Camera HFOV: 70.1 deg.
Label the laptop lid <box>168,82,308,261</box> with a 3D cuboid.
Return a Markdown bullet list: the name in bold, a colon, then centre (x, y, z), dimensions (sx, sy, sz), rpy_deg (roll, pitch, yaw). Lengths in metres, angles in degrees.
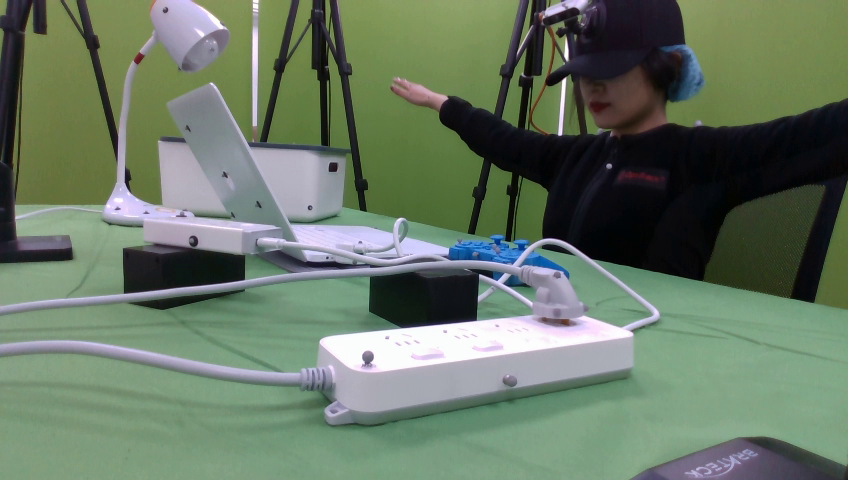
- **laptop lid**: centre (-0.273, -0.094, 0.844), dimensions (0.013, 0.242, 0.355), rpy_deg (-33, 24, -22)

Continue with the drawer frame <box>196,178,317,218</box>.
- **drawer frame**: centre (-0.376, -0.101, 1.393), dimensions (0.213, 0.082, 0.202), rpy_deg (1, 8, 6)

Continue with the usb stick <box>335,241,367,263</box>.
- **usb stick**: centre (-0.093, 0.015, 0.742), dimensions (0.021, 0.027, 0.059), rpy_deg (-4, 1, -33)

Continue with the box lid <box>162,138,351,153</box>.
- **box lid**: centre (-0.371, -0.215, 1.394), dimensions (0.371, 0.015, 0.263), rpy_deg (4, 8, 7)

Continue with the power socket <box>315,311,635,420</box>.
- **power socket**: centre (0.039, 0.072, 0.385), dimensions (0.228, 0.032, 0.072), rpy_deg (-2, 7, -29)

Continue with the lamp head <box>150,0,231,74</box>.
- **lamp head**: centre (-0.432, -0.374, 1.086), dimensions (0.123, 0.112, 0.112), rpy_deg (42, 8, -2)

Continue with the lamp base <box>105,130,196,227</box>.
- **lamp base**: centre (-0.532, -0.120, 1.153), dimensions (0.179, 0.180, 0.161), rpy_deg (1, 7, 8)

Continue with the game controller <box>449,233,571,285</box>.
- **game controller**: centre (0.101, 0.021, 0.760), dimensions (0.097, 0.051, 0.154), rpy_deg (-7, 10, -30)

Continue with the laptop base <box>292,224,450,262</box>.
- **laptop base**: centre (-0.127, 0.002, 0.946), dimensions (0.237, 0.023, 0.352), rpy_deg (2, 6, -31)

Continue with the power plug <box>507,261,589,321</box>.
- **power plug**: centre (0.091, 0.043, 0.444), dimensions (0.035, 0.052, 0.072), rpy_deg (-1, 5, -18)

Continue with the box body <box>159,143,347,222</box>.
- **box body**: centre (-0.384, -0.137, 1.406), dimensions (0.364, 0.160, 0.254), rpy_deg (3, 8, 7)

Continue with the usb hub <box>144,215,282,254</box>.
- **usb hub**: centre (-0.200, -0.006, 0.573), dimensions (0.125, 0.025, 0.050), rpy_deg (6, 7, 23)

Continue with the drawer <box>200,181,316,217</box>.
- **drawer**: centre (-0.372, -0.097, 1.393), dimensions (0.212, 0.073, 0.194), rpy_deg (1, 9, 6)
